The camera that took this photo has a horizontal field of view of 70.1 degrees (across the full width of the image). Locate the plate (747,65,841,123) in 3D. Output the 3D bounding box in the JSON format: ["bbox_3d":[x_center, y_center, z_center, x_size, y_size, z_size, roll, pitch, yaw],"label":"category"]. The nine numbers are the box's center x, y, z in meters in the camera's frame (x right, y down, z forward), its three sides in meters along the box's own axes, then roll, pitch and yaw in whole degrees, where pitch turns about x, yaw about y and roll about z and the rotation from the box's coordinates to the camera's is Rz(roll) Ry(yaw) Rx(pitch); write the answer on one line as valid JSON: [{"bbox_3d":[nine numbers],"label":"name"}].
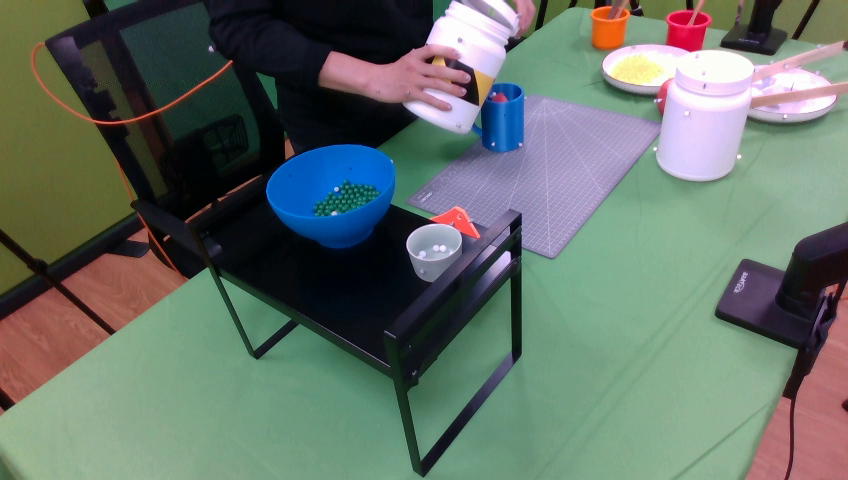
[{"bbox_3d":[0.694,-0.282,1.189,0.207,0.039,0.206,-4,40,4],"label":"plate"}]

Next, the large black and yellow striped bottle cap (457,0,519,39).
[{"bbox_3d":[0.106,-0.375,1.000,0.114,0.116,0.019,40,98,41],"label":"large black and yellow striped bottle cap"}]

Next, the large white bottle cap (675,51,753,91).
[{"bbox_3d":[0.463,-0.271,0.967,0.115,0.018,0.114,-4,40,3],"label":"large white bottle cap"}]

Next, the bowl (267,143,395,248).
[{"bbox_3d":[-0.104,-0.043,0.726,0.151,0.077,0.150,-4,40,4],"label":"bowl"}]

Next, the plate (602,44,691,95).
[{"bbox_3d":[0.495,-0.367,1.317,0.209,0.038,0.208,-4,40,4],"label":"plate"}]

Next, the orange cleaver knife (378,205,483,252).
[{"bbox_3d":[0.005,-0.010,0.944,0.210,0.077,0.012,-5,23,47],"label":"orange cleaver knife"}]

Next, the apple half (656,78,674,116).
[{"bbox_3d":[0.488,-0.281,1.192,0.053,0.075,0.081,24,54,37],"label":"apple half"}]

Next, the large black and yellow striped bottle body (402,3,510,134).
[{"bbox_3d":[0.056,-0.287,1.017,0.131,0.184,0.130,24,18,-8],"label":"large black and yellow striped bottle body"}]

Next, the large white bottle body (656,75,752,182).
[{"bbox_3d":[0.472,-0.207,1.022,0.130,0.185,0.130,-4,41,4],"label":"large white bottle body"}]

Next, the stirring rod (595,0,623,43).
[{"bbox_3d":[0.460,-0.556,1.459,0.014,0.006,0.176,30,93,23],"label":"stirring rod"}]

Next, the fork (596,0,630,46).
[{"bbox_3d":[0.481,-0.556,1.453,0.028,0.019,0.207,40,103,40],"label":"fork"}]

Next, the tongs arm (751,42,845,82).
[{"bbox_3d":[0.708,-0.331,1.193,0.386,0.026,0.050,-18,45,-16],"label":"tongs arm"}]

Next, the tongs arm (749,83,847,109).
[{"bbox_3d":[0.734,-0.280,1.133,0.388,0.028,0.028,-9,47,-5],"label":"tongs arm"}]

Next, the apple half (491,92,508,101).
[{"bbox_3d":[0.141,-0.239,1.158,0.033,0.081,0.080,-13,40,-16],"label":"apple half"}]

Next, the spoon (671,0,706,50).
[{"bbox_3d":[0.628,-0.520,1.394,0.041,0.022,0.193,30,97,34],"label":"spoon"}]

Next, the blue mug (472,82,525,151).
[{"bbox_3d":[0.138,-0.241,1.169,0.116,0.106,0.082,11,44,21],"label":"blue mug"}]

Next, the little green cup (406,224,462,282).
[{"bbox_3d":[0.012,0.015,0.668,0.061,0.039,0.061,-4,40,4],"label":"little green cup"}]
